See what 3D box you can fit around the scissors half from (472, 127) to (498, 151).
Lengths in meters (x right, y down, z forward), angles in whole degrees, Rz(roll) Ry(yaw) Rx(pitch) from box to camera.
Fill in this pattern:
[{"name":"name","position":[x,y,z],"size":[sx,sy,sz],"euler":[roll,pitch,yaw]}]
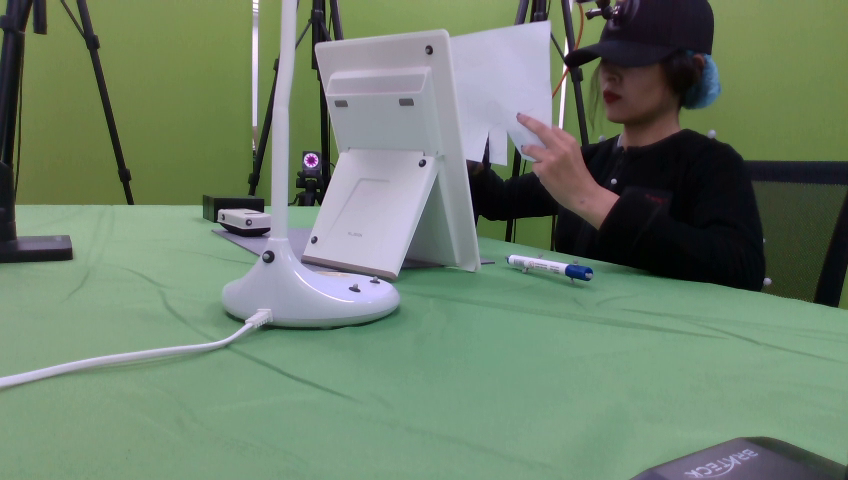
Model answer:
[{"name":"scissors half","position":[0.112,-0.179,1.096],"size":[0.013,0.040,0.175],"euler":[17,14,-11]}]

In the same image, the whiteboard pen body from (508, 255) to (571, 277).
[{"name":"whiteboard pen body","position":[0.155,0.034,0.772],"size":[0.017,0.017,0.140],"euler":[-2,6,-31]}]

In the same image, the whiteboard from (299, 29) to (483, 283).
[{"name":"whiteboard","position":[-0.074,-0.082,0.742],"size":[0.216,0.305,0.144],"euler":[9,29,38]}]

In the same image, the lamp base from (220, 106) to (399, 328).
[{"name":"lamp base","position":[-0.102,-0.023,0.531],"size":[0.160,0.180,0.179],"euler":[4,10,10]}]

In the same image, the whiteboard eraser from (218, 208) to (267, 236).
[{"name":"whiteboard eraser","position":[-0.309,-0.031,1.044],"size":[0.056,0.042,0.112],"euler":[-2,9,-40]}]

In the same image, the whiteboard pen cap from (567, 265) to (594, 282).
[{"name":"whiteboard pen cap","position":[0.185,0.040,0.722],"size":[0.018,0.018,0.033],"euler":[-3,6,-33]}]

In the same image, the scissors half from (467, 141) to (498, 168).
[{"name":"scissors half","position":[0.107,-0.159,1.098],"size":[0.013,0.040,0.175],"euler":[11,-6,-11]}]
